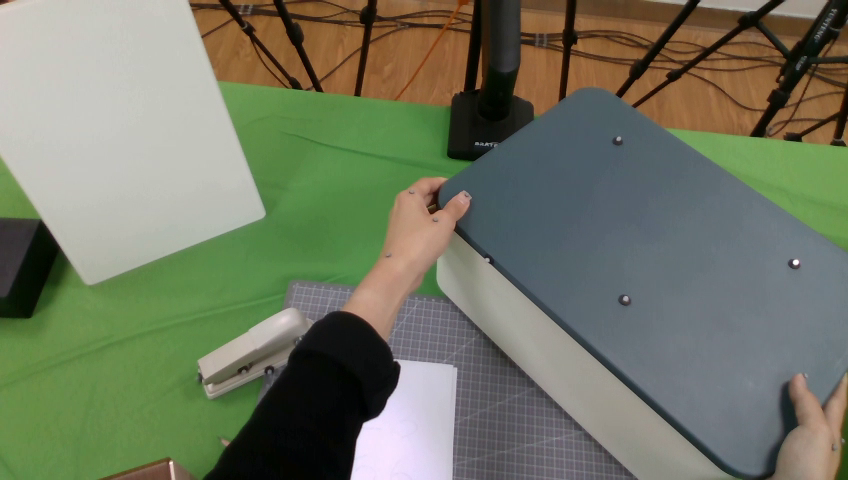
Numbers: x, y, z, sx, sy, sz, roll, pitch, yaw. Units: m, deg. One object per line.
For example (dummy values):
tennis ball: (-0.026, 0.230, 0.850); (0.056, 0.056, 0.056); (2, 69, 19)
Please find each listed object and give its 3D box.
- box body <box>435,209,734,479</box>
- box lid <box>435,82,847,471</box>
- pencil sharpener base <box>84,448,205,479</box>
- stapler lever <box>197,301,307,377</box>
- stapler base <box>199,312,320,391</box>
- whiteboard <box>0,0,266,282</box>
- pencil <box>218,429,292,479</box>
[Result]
box body: (0.212, 0.044, 0.641); (0.254, 0.161, 0.361); (-37, 67, -24)
box lid: (0.216, -0.001, 0.572); (0.263, 0.015, 0.368); (-37, 67, -24)
pencil sharpener base: (-0.238, 0.232, 0.524); (0.077, 0.108, 0.061); (-15, 60, -12)
stapler lever: (-0.178, 0.101, 0.629); (0.118, 0.040, 0.026); (-25, 58, -15)
stapler base: (-0.177, 0.113, 0.651); (0.131, 0.024, 0.041); (-25, 58, -15)
whiteboard: (-0.340, -0.145, 0.674); (0.217, 0.308, 0.142); (-24, 43, -17)
pencil: (-0.127, 0.237, 0.585); (0.193, 0.012, 0.012); (30, 60, 16)
